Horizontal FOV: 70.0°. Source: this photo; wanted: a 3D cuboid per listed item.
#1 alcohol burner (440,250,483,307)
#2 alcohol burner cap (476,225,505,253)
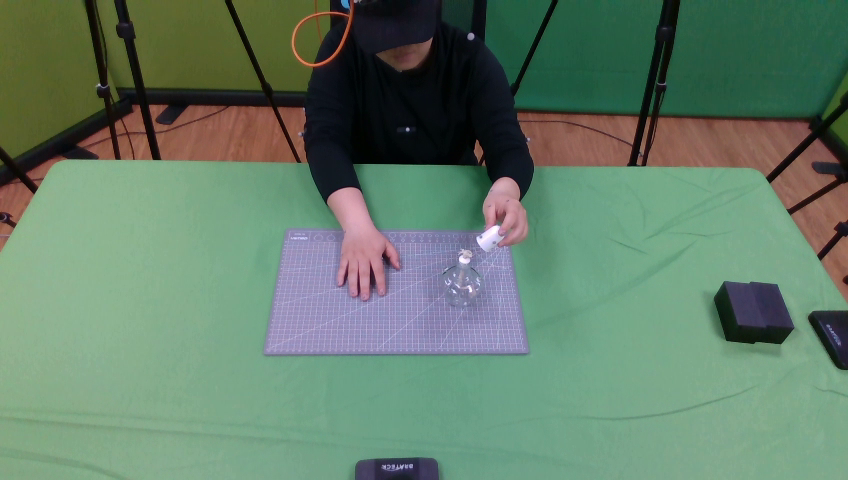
[{"bbox_3d":[0.068,0.064,1.076,0.078,0.120,0.077,1,45,-1],"label":"alcohol burner"},{"bbox_3d":[0.114,-0.005,1.012,0.034,0.048,0.033,38,26,-22],"label":"alcohol burner cap"}]
